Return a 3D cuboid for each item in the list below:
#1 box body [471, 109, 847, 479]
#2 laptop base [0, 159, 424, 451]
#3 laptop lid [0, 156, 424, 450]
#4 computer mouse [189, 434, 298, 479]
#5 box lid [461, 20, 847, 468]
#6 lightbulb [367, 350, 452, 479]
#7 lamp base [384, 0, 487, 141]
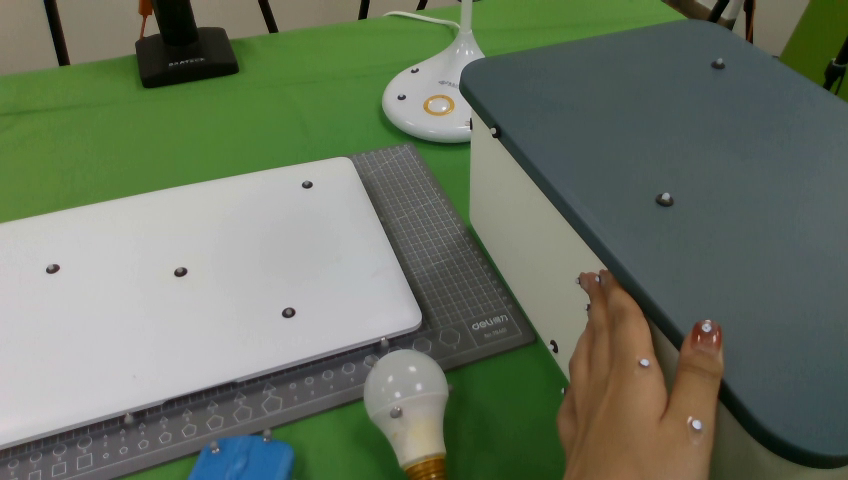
[{"bbox_3d":[0.212,0.008,0.467,0.255,0.162,0.359,-14,47,-16],"label":"box body"},{"bbox_3d":[-0.202,0.037,0.524,0.355,0.023,0.233,-14,50,-16],"label":"laptop base"},{"bbox_3d":[-0.201,0.030,0.515,0.357,0.013,0.239,-13,48,-14],"label":"laptop lid"},{"bbox_3d":[-0.121,0.173,0.378,0.063,0.041,0.116,2,41,3],"label":"computer mouse"},{"bbox_3d":[0.209,-0.051,0.409,0.264,0.015,0.367,-16,48,-17],"label":"box lid"},{"bbox_3d":[-0.005,0.128,0.418,0.059,0.060,0.106,-11,62,-13],"label":"lightbulb"},{"bbox_3d":[0.034,-0.233,0.692,0.160,0.182,0.178,10,43,9],"label":"lamp base"}]
